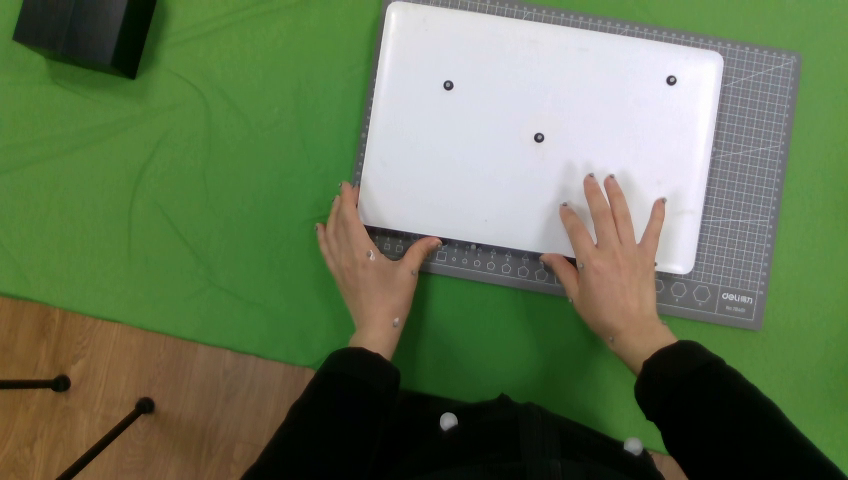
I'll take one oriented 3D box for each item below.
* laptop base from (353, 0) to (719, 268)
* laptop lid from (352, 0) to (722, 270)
[{"bbox_3d":[0.116,-0.111,0.633,0.354,0.023,0.235,9,92,-1],"label":"laptop base"},{"bbox_3d":[0.116,-0.109,0.621,0.357,0.013,0.241,10,91,0],"label":"laptop lid"}]
